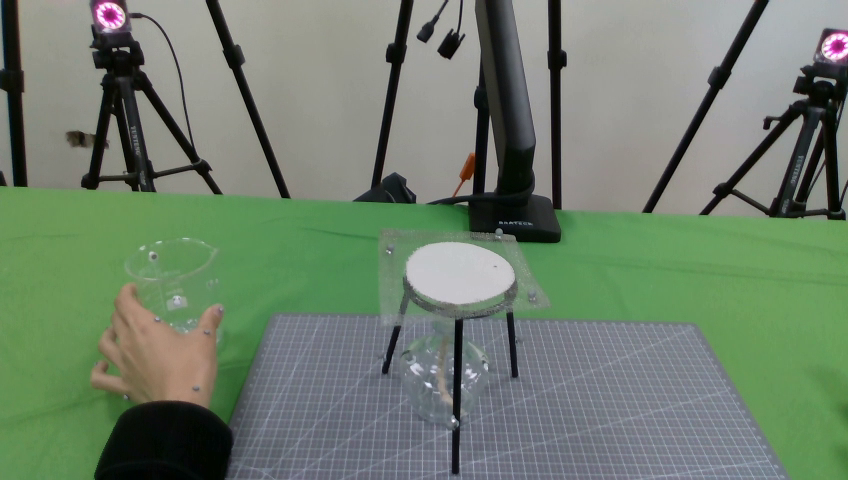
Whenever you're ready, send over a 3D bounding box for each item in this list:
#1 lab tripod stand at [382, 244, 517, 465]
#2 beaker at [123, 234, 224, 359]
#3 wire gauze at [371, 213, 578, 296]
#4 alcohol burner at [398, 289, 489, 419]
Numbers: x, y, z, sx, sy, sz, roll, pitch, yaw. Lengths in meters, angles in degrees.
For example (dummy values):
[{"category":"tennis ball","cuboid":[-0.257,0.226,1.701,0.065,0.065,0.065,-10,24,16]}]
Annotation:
[{"category":"lab tripod stand","cuboid":[0.027,0.084,0.498,0.148,0.132,0.147,3,32,-2]},{"category":"beaker","cuboid":[-0.228,0.054,0.571,0.084,0.101,0.073,-22,39,-36]},{"category":"wire gauze","cuboid":[0.034,0.009,0.459,0.125,0.011,0.120,-5,26,-26]},{"category":"alcohol burner","cuboid":[0.018,0.090,0.506,0.078,0.120,0.077,4,30,-2]}]
